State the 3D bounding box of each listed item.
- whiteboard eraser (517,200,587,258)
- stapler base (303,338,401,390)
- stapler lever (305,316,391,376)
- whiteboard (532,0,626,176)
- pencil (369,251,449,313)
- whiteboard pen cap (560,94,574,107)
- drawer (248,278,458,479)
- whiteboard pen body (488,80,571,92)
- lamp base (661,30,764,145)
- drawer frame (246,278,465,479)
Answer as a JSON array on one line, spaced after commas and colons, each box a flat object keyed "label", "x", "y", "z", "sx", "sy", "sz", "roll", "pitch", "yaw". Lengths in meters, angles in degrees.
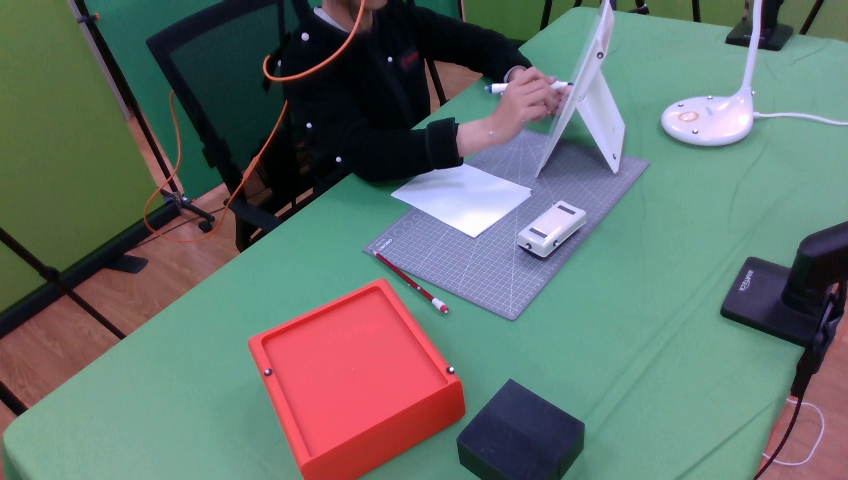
[{"label": "whiteboard eraser", "x": 0.201, "y": -0.016, "z": 0.943, "sx": 0.113, "sy": 0.042, "sz": 0.055, "roll": -37, "pitch": 46, "yaw": -29}, {"label": "stapler base", "x": -0.096, "y": 0.159, "z": 0.813, "sx": 0.131, "sy": 0.024, "sz": 0.041, "roll": -17, "pitch": 43, "yaw": -17}, {"label": "stapler lever", "x": -0.100, "y": 0.136, "z": 0.790, "sx": 0.118, "sy": 0.040, "sz": 0.026, "roll": -23, "pitch": 44, "yaw": -12}, {"label": "whiteboard", "x": 0.321, "y": -0.259, "z": 1.050, "sx": 0.144, "sy": 0.306, "sz": 0.217, "roll": 21, "pitch": 45, "yaw": 5}, {"label": "pencil", "x": -0.028, "y": 0.060, "z": 0.924, "sx": 0.012, "sy": 0.012, "sz": 0.192, "roll": -33, "pitch": 46, "yaw": -25}, {"label": "whiteboard pen cap", "x": 0.301, "y": -0.293, "z": 1.272, "sx": 0.018, "sy": 0.018, "sz": 0.033, "roll": 26, "pitch": 50, "yaw": 34}, {"label": "drawer", "x": -0.092, "y": 0.167, "z": 0.756, "sx": 0.195, "sy": 0.073, "sz": 0.210, "roll": -24, "pitch": 43, "yaw": -18}, {"label": "whiteboard pen body", "x": 0.179, "y": -0.263, "z": 1.028, "sx": 0.140, "sy": 0.017, "sz": 0.017, "roll": 0, "pitch": 41, "yaw": 13}, {"label": "lamp base", "x": 0.535, "y": -0.287, "z": 1.096, "sx": 0.179, "sy": 0.181, "sz": 0.159, "roll": -10, "pitch": 40, "yaw": -4}, {"label": "drawer frame", "x": -0.088, "y": 0.168, "z": 0.752, "sx": 0.202, "sy": 0.083, "sz": 0.211, "roll": -24, "pitch": 43, "yaw": -18}]
